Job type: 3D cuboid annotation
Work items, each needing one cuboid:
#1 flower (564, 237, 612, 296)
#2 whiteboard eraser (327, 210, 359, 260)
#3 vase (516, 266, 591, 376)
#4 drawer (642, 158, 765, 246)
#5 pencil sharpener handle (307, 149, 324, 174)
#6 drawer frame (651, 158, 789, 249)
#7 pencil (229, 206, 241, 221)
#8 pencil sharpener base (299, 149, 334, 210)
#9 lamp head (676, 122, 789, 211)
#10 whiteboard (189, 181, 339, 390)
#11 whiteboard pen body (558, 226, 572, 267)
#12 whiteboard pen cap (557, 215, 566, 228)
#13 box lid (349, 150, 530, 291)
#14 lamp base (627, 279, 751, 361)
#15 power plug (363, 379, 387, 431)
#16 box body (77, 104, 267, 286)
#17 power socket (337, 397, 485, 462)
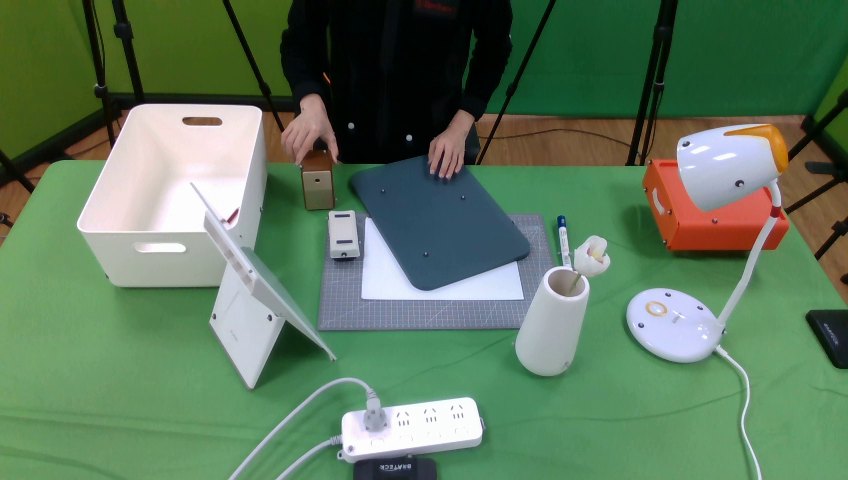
[{"bbox_3d":[0.206,0.088,0.893,0.038,0.363,0.044,-16,67,-9],"label":"flower"},{"bbox_3d":[-0.158,-0.009,1.177,0.055,0.042,0.112,-6,47,-7],"label":"whiteboard eraser"},{"bbox_3d":[0.208,0.132,0.964,0.098,0.201,0.097,3,46,-3],"label":"vase"},{"bbox_3d":[0.566,-0.076,1.211,0.212,0.073,0.193,2,45,-2],"label":"drawer"},{"bbox_3d":[-0.230,-0.170,1.267,0.036,0.068,0.030,8,43,-19],"label":"pencil sharpener handle"},{"bbox_3d":[0.571,-0.075,1.214,0.214,0.083,0.200,0,46,-1],"label":"drawer frame"},{"bbox_3d":[-0.402,-0.008,1.176,0.012,0.012,0.193,15,44,9],"label":"pencil"},{"bbox_3d":[-0.219,-0.125,1.242,0.061,0.107,0.076,-4,46,-7],"label":"pencil sharpener base"},{"bbox_3d":[0.423,-0.104,0.819,0.122,0.113,0.112,-13,33,40],"label":"lamp head"},{"bbox_3d":[-0.292,0.096,0.929,0.144,0.307,0.216,-37,57,-10],"label":"whiteboard"},{"bbox_3d":[0.280,0.010,1.208,0.017,0.017,0.140,3,50,-1],"label":"whiteboard pen body"},{"bbox_3d":[0.284,-0.034,1.246,0.018,0.018,0.033,4,52,-1],"label":"whiteboard pen cap"},{"bbox_3d":[0.025,-0.056,1.260,0.263,0.015,0.369,-18,49,-20],"label":"box lid"},{"bbox_3d":[0.460,0.100,1.027,0.178,0.181,0.160,27,51,17],"label":"lamp base"},{"bbox_3d":[-0.072,0.252,0.910,0.035,0.053,0.072,3,45,-1],"label":"power plug"},{"bbox_3d":[-0.446,-0.088,1.150,0.254,0.161,0.361,-1,46,-5],"label":"box body"},{"bbox_3d":[-0.018,0.285,0.915,0.227,0.033,0.071,-5,46,-8],"label":"power socket"}]
